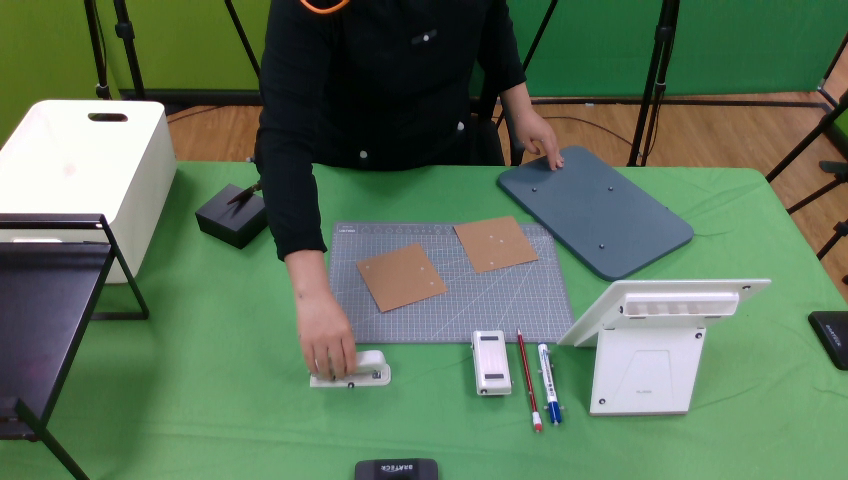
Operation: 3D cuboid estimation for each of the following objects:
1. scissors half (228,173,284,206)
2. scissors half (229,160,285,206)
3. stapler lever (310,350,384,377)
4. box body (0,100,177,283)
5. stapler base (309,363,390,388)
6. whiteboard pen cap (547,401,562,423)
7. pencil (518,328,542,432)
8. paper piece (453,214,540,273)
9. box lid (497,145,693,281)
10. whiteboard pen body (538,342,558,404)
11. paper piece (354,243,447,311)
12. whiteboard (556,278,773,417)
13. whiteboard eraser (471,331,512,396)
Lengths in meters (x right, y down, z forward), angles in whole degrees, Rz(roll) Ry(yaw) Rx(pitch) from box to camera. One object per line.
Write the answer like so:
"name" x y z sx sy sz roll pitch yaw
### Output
"scissors half" -0.339 -0.100 1.228 0.013 0.040 0.175 22 29 15
"scissors half" -0.335 -0.115 1.216 0.013 0.040 0.174 26 46 11
"stapler lever" -0.122 0.197 0.962 0.118 0.040 0.026 -2 44 -3
"box body" -0.640 -0.094 1.141 0.254 0.161 0.361 1 46 -5
"stapler base" -0.121 0.213 0.981 0.130 0.024 0.041 -2 44 -3
"whiteboard pen cap" 0.205 0.270 0.955 0.018 0.018 0.033 0 46 -5
"pencil" 0.172 0.224 1.001 0.012 0.012 0.193 0 46 -4
"paper piece" 0.142 0.003 1.212 0.135 0.004 0.135 -11 47 -14
"box lid" 0.361 -0.072 1.303 0.263 0.015 0.369 -24 51 -25
"whiteboard pen body" 0.205 0.229 0.996 0.017 0.017 0.140 1 47 -3
"paper piece" -0.045 0.067 1.136 0.136 0.009 0.137 -14 47 -22
"whiteboard" 0.347 0.175 0.902 0.217 0.306 0.143 1 65 -4
"whiteboard eraser" 0.110 0.203 0.997 0.055 0.042 0.112 1 46 -5
